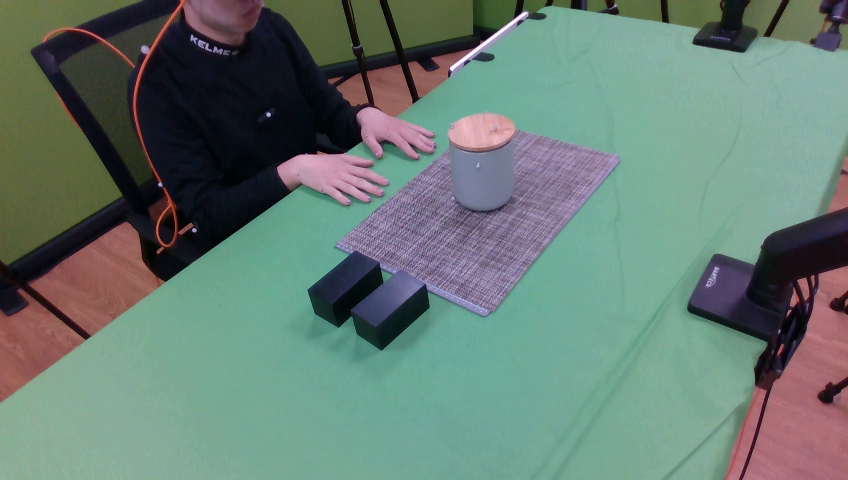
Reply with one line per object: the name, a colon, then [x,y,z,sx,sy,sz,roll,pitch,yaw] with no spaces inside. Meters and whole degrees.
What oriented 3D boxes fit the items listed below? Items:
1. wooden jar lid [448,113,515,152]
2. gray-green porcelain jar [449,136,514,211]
wooden jar lid: [0.092,-0.168,0.967,0.108,0.021,0.108,-6,39,5]
gray-green porcelain jar: [0.098,-0.120,1.009,0.106,0.127,0.105,-4,41,4]
